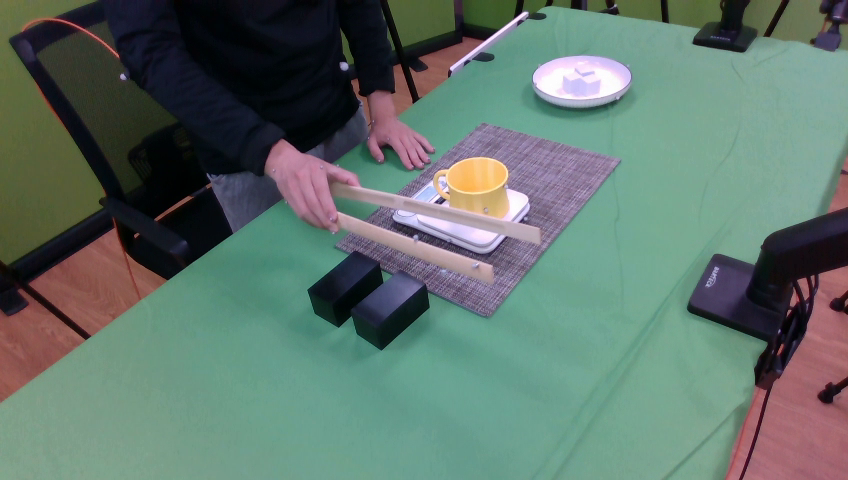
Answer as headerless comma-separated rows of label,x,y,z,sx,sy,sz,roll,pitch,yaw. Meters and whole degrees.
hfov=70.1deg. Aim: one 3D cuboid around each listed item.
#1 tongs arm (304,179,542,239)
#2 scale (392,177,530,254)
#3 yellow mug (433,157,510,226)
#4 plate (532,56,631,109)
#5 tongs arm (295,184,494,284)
tongs arm,-0.017,-0.047,0.844,0.384,0.028,0.028,13,43,31
scale,0.060,-0.050,1.006,0.199,0.032,0.149,22,48,30
yellow mug,0.072,-0.082,0.968,0.130,0.064,0.100,13,45,24
plate,0.336,-0.335,1.301,0.207,0.039,0.206,-4,41,4
tongs arm,-0.054,-0.018,0.807,0.381,0.026,0.051,18,42,37
